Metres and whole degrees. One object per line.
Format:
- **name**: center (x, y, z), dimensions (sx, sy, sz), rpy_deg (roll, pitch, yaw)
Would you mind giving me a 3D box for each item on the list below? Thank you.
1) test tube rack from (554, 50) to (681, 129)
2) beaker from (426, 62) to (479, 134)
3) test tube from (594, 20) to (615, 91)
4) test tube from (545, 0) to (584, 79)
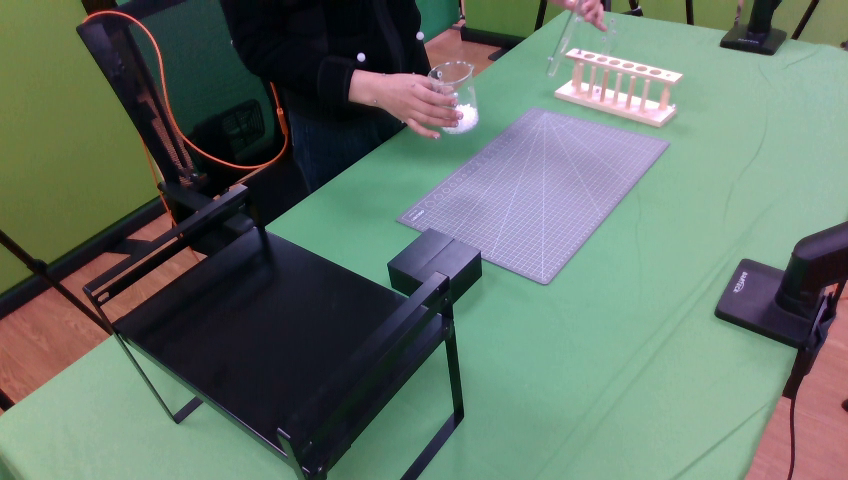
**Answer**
- **test tube rack**: center (0.387, -0.311, 1.234), dimensions (0.240, 0.085, 0.067), rpy_deg (28, 52, 35)
- **beaker**: center (0.054, -0.236, 1.013), dimensions (0.084, 0.101, 0.073), rpy_deg (-26, 43, -12)
- **test tube**: center (0.366, -0.372, 1.232), dimensions (0.017, 0.151, 0.017), rpy_deg (0, 43, 1)
- **test tube**: center (0.241, -0.349, 1.038), dimensions (0.017, 0.150, 0.017), rpy_deg (15, 27, -7)
